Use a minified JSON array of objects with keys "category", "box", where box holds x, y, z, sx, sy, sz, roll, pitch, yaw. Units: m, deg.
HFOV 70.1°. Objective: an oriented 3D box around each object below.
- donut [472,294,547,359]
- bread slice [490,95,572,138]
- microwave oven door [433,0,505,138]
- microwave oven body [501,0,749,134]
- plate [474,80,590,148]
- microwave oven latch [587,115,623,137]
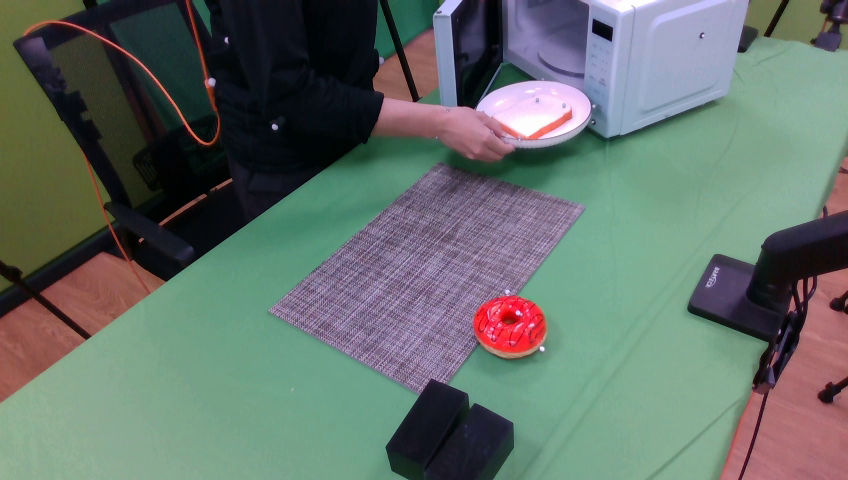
[{"category":"donut","box":[0.114,0.114,0.803,0.099,0.048,0.098,0,39,1]},{"category":"bread slice","box":[0.201,-0.227,1.101,0.132,0.019,0.104,-31,48,-23]},{"category":"microwave oven door","box":[0.102,-0.406,1.233,0.039,0.245,0.355,9,43,19]},{"category":"microwave oven body","box":[0.382,-0.444,1.246,0.327,0.261,0.437,-22,42,-16]},{"category":"plate","box":[0.195,-0.224,1.098,0.207,0.039,0.206,-5,42,5]},{"category":"microwave oven latch","box":[0.337,-0.222,1.142,0.030,0.029,0.078,-20,42,-14]}]
